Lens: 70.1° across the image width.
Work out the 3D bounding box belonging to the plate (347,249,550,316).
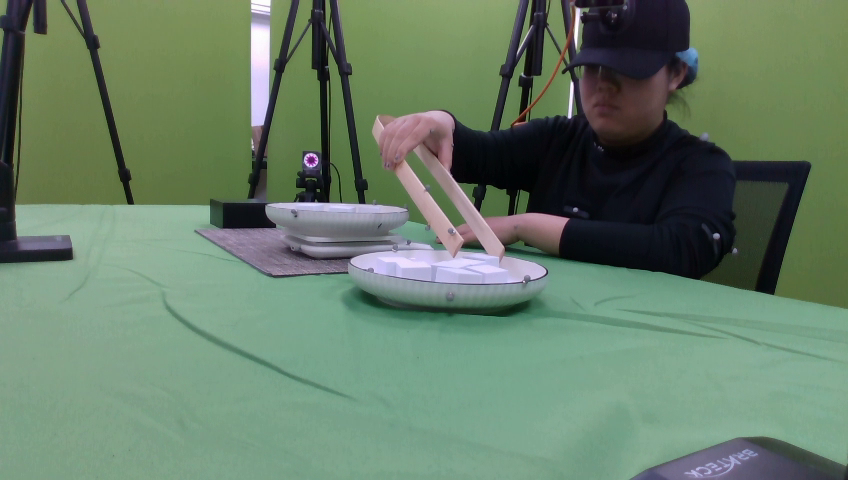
[{"bbox_3d":[0.025,0.042,0.627,0.209,0.038,0.209,2,7,0],"label":"plate"}]

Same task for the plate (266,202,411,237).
[{"bbox_3d":[-0.123,-0.030,0.879,0.208,0.039,0.207,2,6,0],"label":"plate"}]

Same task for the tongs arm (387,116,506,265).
[{"bbox_3d":[0.020,-0.083,0.822,0.028,0.028,0.385,4,31,-26],"label":"tongs arm"}]

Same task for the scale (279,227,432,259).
[{"bbox_3d":[-0.100,0.001,0.899,0.202,0.031,0.148,-1,8,-31],"label":"scale"}]

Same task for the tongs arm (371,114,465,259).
[{"bbox_3d":[-0.010,-0.088,0.806,0.051,0.026,0.383,6,29,-28],"label":"tongs arm"}]
